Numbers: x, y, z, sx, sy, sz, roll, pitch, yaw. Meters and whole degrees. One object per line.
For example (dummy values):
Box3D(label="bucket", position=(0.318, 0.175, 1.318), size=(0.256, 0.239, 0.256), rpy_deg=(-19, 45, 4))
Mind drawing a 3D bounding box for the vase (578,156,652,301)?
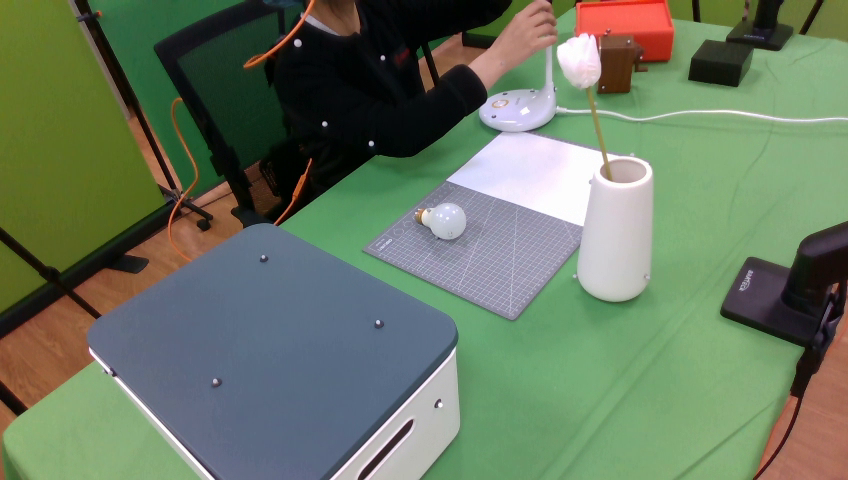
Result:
Box3D(label="vase", position=(0.261, -0.011, 0.812), size=(0.098, 0.201, 0.097), rpy_deg=(-4, 40, 4))

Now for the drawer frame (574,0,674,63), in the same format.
Box3D(label="drawer frame", position=(0.464, -0.492, 1.434), size=(0.213, 0.083, 0.201), rpy_deg=(1, 40, 12))

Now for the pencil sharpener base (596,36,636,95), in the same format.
Box3D(label="pencil sharpener base", position=(0.406, -0.369, 1.280), size=(0.076, 0.107, 0.061), rpy_deg=(1, 41, 13))

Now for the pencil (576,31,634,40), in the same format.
Box3D(label="pencil", position=(0.431, -0.488, 1.443), size=(0.012, 0.012, 0.192), rpy_deg=(-25, 30, -18))

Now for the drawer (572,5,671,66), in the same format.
Box3D(label="drawer", position=(0.461, -0.489, 1.435), size=(0.211, 0.073, 0.194), rpy_deg=(2, 41, 12))

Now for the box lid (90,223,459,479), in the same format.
Box3D(label="box lid", position=(-0.174, 0.102, 0.666), size=(0.368, 0.015, 0.264), rpy_deg=(24, 48, 35))

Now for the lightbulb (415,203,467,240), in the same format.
Box3D(label="lightbulb", position=(0.024, -0.034, 0.999), size=(0.060, 0.060, 0.107), rpy_deg=(-38, 32, -30))

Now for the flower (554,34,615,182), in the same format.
Box3D(label="flower", position=(0.237, -0.083, 0.774), size=(0.044, 0.363, 0.038), rpy_deg=(-22, 26, 6))

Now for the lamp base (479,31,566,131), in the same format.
Box3D(label="lamp base", position=(0.200, -0.332, 1.219), size=(0.179, 0.181, 0.160), rpy_deg=(1, 40, 8))

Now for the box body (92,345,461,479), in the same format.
Box3D(label="box body", position=(-0.162, 0.170, 0.708), size=(0.361, 0.161, 0.255), rpy_deg=(25, 50, 34))

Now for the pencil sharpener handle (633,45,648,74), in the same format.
Box3D(label="pencil sharpener handle", position=(0.454, -0.378, 1.262), size=(0.030, 0.068, 0.036), rpy_deg=(1, 46, 13))
